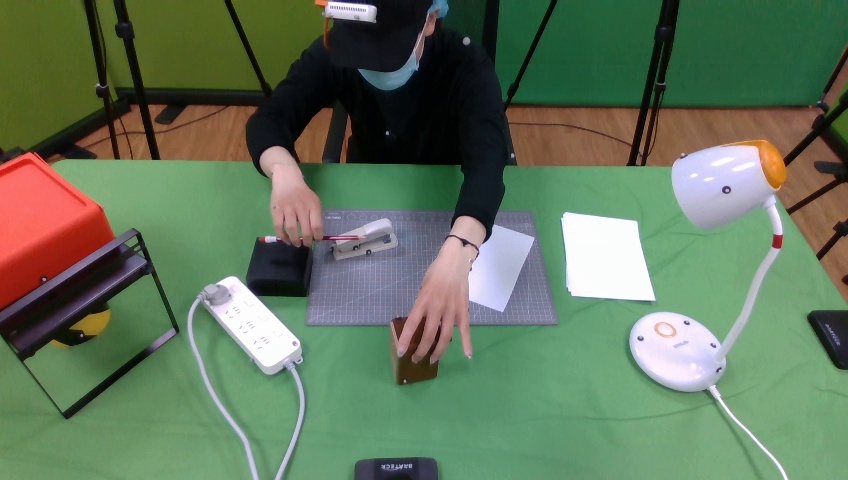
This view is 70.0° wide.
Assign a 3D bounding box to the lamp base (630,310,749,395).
[{"bbox_3d":[0.447,0.142,0.984,0.161,0.181,0.178,-24,55,-24],"label":"lamp base"}]

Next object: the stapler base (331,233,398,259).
[{"bbox_3d":[-0.116,0.004,1.181,0.131,0.024,0.041,-13,48,-14],"label":"stapler base"}]

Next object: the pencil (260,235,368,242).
[{"bbox_3d":[-0.194,-0.003,1.068,0.194,0.012,0.012,-1,46,5],"label":"pencil"}]

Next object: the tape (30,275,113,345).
[{"bbox_3d":[-0.594,0.117,1.021,0.117,0.053,0.116,2,45,-2],"label":"tape"}]

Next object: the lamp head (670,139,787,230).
[{"bbox_3d":[0.415,-0.079,0.812,0.113,0.123,0.112,13,70,-37],"label":"lamp head"}]

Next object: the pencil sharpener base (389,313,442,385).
[{"bbox_3d":[-0.014,0.174,0.971,0.077,0.107,0.061,-9,46,-12],"label":"pencil sharpener base"}]

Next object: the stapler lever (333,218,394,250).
[{"bbox_3d":[-0.116,-0.012,1.162,0.118,0.040,0.026,-13,48,-14],"label":"stapler lever"}]

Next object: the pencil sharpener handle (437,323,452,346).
[{"bbox_3d":[0.035,0.153,0.976,0.031,0.068,0.036,-9,67,-12],"label":"pencil sharpener handle"}]

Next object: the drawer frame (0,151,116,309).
[{"bbox_3d":[-0.604,-0.013,0.875,0.201,0.083,0.213,31,52,23],"label":"drawer frame"}]

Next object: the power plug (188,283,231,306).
[{"bbox_3d":[-0.368,0.099,1.037,0.072,0.053,0.035,-24,52,-25],"label":"power plug"}]

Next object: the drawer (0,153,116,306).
[{"bbox_3d":[-0.601,-0.015,0.880,0.193,0.073,0.211,32,53,23],"label":"drawer"}]

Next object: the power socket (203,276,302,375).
[{"bbox_3d":[-0.297,0.141,1.034,0.072,0.033,0.225,-34,58,-30],"label":"power socket"}]
